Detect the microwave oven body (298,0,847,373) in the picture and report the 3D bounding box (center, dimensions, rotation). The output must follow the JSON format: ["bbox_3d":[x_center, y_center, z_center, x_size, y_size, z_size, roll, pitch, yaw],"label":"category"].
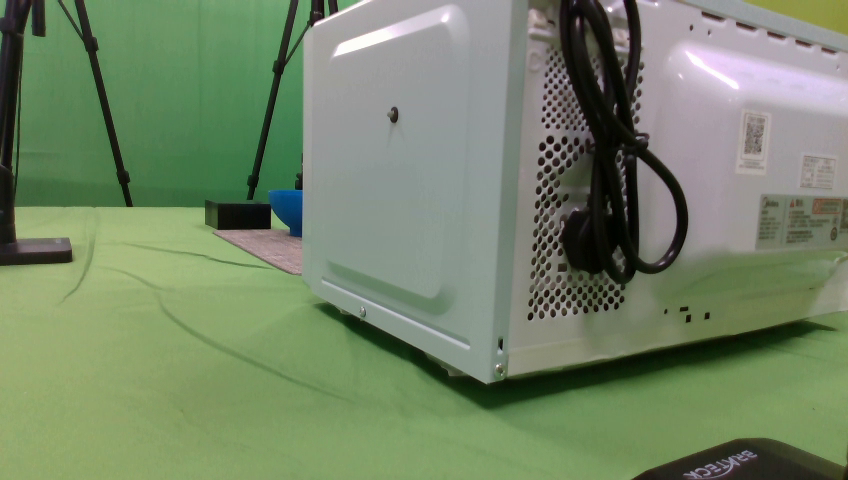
[{"bbox_3d":[0.151,-0.055,0.543,0.444,0.260,0.324,-1,7,-33],"label":"microwave oven body"}]

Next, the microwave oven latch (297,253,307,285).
[{"bbox_3d":[-0.082,0.027,0.582,0.079,0.029,0.030,-1,7,-33],"label":"microwave oven latch"}]

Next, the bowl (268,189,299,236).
[{"bbox_3d":[-0.205,-0.049,1.090,0.151,0.077,0.151,3,7,0],"label":"bowl"}]

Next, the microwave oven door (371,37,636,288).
[{"bbox_3d":[0.109,-0.080,0.687,0.358,0.243,0.039,-2,9,-33],"label":"microwave oven door"}]
